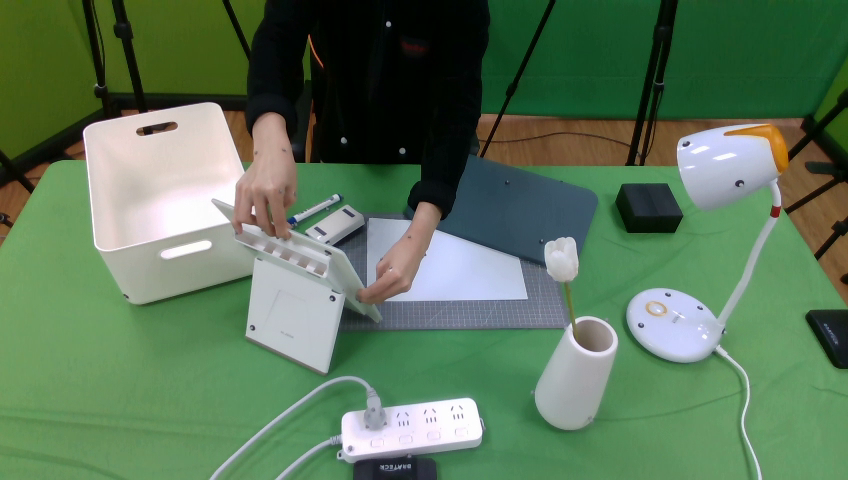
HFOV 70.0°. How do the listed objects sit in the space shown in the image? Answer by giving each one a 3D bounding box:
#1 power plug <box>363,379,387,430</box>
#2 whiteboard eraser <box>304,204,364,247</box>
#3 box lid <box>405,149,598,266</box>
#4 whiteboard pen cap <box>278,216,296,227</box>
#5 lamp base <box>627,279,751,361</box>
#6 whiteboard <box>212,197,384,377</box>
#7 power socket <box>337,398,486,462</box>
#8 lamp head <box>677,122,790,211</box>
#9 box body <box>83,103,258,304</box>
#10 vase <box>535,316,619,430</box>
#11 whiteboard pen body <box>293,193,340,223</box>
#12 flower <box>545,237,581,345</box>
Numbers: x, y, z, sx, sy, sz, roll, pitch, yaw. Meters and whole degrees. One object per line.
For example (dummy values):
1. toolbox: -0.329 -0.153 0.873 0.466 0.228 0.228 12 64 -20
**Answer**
1. power plug: -0.071 0.252 0.911 0.035 0.053 0.072 3 40 0
2. whiteboard eraser: -0.175 -0.022 1.188 0.055 0.042 0.112 36 54 26
3. box lid: 0.171 -0.074 1.289 0.371 0.015 0.262 19 47 14
4. whiteboard pen cap: -0.273 -0.034 1.213 0.033 0.018 0.018 -32 56 -31
5. lamp base: 0.460 0.100 1.027 0.178 0.181 0.160 27 51 17
6. whiteboard: -0.214 0.094 0.936 0.216 0.307 0.143 22 70 16
7. power socket: -0.018 0.285 0.914 0.227 0.033 0.071 -4 46 -8
8. lamp head: 0.424 -0.104 0.819 0.122 0.113 0.112 -13 33 40
9. box body: -0.465 -0.077 1.137 0.254 0.161 0.361 -16 50 -19
10. vase: 0.229 0.200 0.901 0.098 0.201 0.097 3 46 -3
11. whiteboard pen body: -0.230 -0.061 1.243 0.141 0.017 0.017 -32 56 -30
12. flower: 0.213 0.137 0.846 0.038 0.364 0.044 22 55 40
